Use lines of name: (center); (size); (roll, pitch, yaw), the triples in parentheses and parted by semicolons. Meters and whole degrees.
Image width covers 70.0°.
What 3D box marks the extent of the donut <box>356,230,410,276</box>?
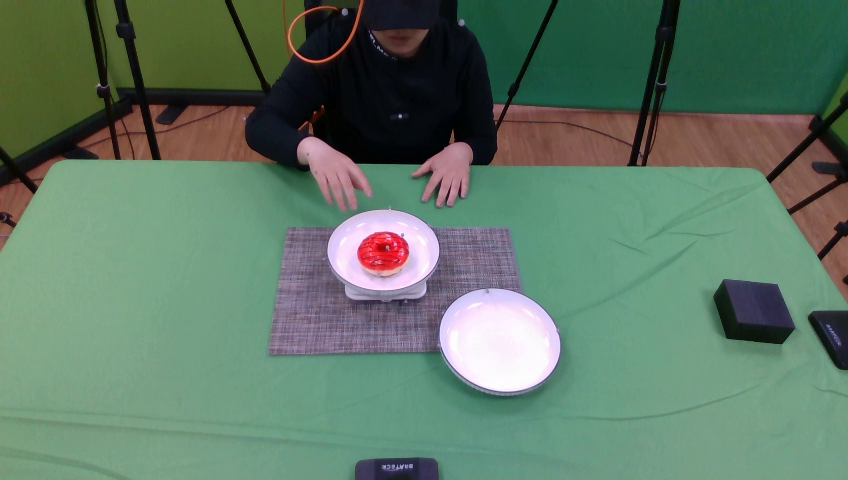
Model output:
donut: (-0.073, 0.022, 1.097); (0.099, 0.048, 0.098); (0, 45, 0)

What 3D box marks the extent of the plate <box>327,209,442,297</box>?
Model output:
plate: (-0.072, 0.027, 1.110); (0.208, 0.039, 0.206); (2, 46, -2)

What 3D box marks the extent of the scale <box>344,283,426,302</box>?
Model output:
scale: (-0.075, 0.033, 1.149); (0.149, 0.032, 0.199); (0, 46, -5)

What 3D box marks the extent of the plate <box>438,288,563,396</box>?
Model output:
plate: (0.127, 0.173, 1.025); (0.209, 0.038, 0.208); (3, 48, -3)
